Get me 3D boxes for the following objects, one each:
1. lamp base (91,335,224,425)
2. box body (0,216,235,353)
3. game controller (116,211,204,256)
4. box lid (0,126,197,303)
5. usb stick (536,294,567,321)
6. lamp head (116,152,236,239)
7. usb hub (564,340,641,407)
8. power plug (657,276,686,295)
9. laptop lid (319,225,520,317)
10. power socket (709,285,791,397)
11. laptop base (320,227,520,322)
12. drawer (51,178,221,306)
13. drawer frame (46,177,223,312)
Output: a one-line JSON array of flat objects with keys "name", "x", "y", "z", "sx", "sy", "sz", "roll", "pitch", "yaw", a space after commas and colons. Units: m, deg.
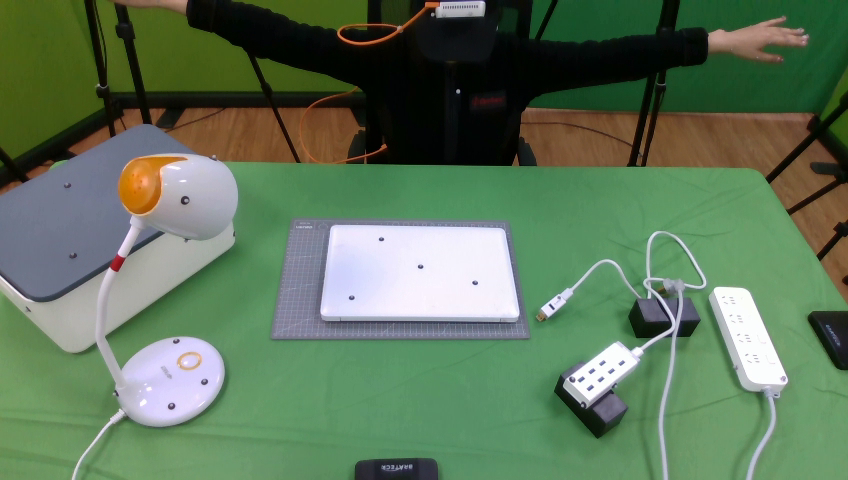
[{"name": "lamp base", "x": -0.401, "y": 0.171, "z": 0.892, "sx": 0.160, "sy": 0.181, "sz": 0.179, "roll": 30, "pitch": 53, "yaw": 23}, {"name": "box body", "x": -0.550, "y": -0.007, "z": 1.068, "sx": 0.253, "sy": 0.161, "sz": 0.363, "roll": 30, "pitch": 51, "yaw": 23}, {"name": "game controller", "x": -0.500, "y": -0.018, "z": 1.142, "sx": 0.154, "sy": 0.051, "sz": 0.097, "roll": 24, "pitch": 20, "yaw": 19}, {"name": "box lid", "x": -0.535, "y": -0.064, "z": 1.013, "sx": 0.262, "sy": 0.015, "sz": 0.371, "roll": 31, "pitch": 50, "yaw": 21}, {"name": "usb stick", "x": 0.226, "y": 0.123, "z": 1.083, "sx": 0.059, "sy": 0.027, "sz": 0.021, "roll": -37, "pitch": 78, "yaw": -8}, {"name": "lamp head", "x": -0.315, "y": -0.057, "z": 0.747, "sx": 0.112, "sy": 0.112, "sz": 0.123, "roll": 26, "pitch": 10, "yaw": 20}, {"name": "usb hub", "x": 0.278, "y": 0.205, "z": 0.944, "sx": 0.125, "sy": 0.025, "sz": 0.049, "roll": -27, "pitch": 52, "yaw": -28}, {"name": "power plug", "x": 0.450, "y": 0.087, "z": 1.113, "sx": 0.073, "sy": 0.052, "sz": 0.035, "roll": -13, "pitch": 72, "yaw": -55}, {"name": "laptop lid", "x": -0.008, "y": 0.052, "z": 1.131, "sx": 0.357, "sy": 0.013, "sz": 0.240, "roll": 2, "pitch": 44, "yaw": -2}, {"name": "power socket", "x": 0.567, "y": 0.168, "z": 1.064, "sx": 0.072, "sy": 0.033, "sz": 0.225, "roll": 2, "pitch": 46, "yaw": 0}, {"name": "laptop base", "x": -0.009, "y": 0.062, "z": 1.138, "sx": 0.354, "sy": 0.023, "sz": 0.234, "roll": 1, "pitch": 42, "yaw": -3}, {"name": "drawer", "x": -0.520, "y": -0.001, "z": 1.107, "sx": 0.194, "sy": 0.073, "sz": 0.211, "roll": 26, "pitch": 50, "yaw": 21}, {"name": "drawer frame", "x": -0.519, "y": 0.001, "z": 1.106, "sx": 0.201, "sy": 0.083, "sz": 0.213, "roll": 26, "pitch": 51, "yaw": 21}]
